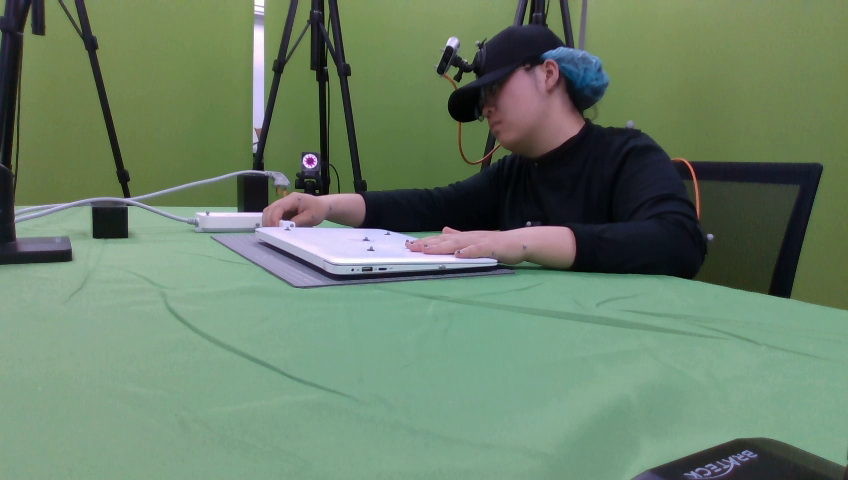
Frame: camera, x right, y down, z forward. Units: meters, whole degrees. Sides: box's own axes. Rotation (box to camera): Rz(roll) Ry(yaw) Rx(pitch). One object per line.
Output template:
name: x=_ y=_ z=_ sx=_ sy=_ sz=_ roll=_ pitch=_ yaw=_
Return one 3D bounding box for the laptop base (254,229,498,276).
laptop base: x=-0.088 y=0.016 z=0.878 sx=0.237 sy=0.023 sz=0.352 roll=2 pitch=6 yaw=-31

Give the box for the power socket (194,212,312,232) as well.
power socket: x=-0.322 y=-0.037 z=1.153 sx=0.228 sy=0.032 sz=0.072 roll=-2 pitch=8 yaw=-34

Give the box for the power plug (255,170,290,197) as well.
power plug: x=-0.323 y=-0.120 z=1.285 sx=0.073 sy=0.052 sz=0.035 roll=2 pitch=-13 yaw=-14

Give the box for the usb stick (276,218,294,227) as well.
usb stick: x=-0.235 y=-0.020 z=1.025 sx=0.021 sy=0.027 sz=0.059 roll=3 pitch=10 yaw=-27

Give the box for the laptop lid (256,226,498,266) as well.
laptop lid: x=-0.085 y=0.005 z=0.878 sx=0.243 sy=0.013 sz=0.355 roll=1 pitch=7 yaw=-29
